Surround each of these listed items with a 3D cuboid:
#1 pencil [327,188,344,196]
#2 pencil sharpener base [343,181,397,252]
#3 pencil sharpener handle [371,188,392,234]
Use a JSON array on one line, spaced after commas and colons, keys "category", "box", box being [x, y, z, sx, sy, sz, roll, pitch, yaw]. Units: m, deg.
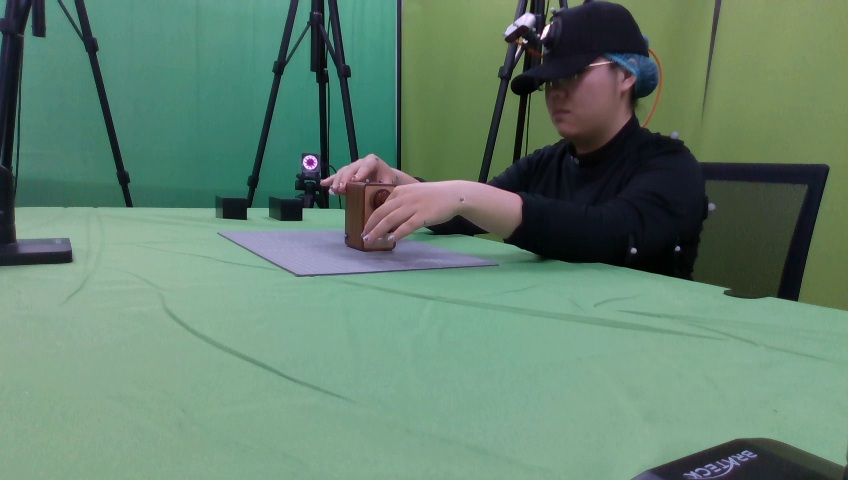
[{"category": "pencil", "box": [-0.124, -0.077, 1.023, 0.012, 0.012, 0.193, -2, 9, -31]}, {"category": "pencil sharpener base", "box": [-0.085, -0.038, 0.958, 0.062, 0.107, 0.076, -2, 9, -32]}, {"category": "pencil sharpener handle", "box": [-0.059, -0.044, 0.913, 0.036, 0.067, 0.030, 6, 5, -33]}]
